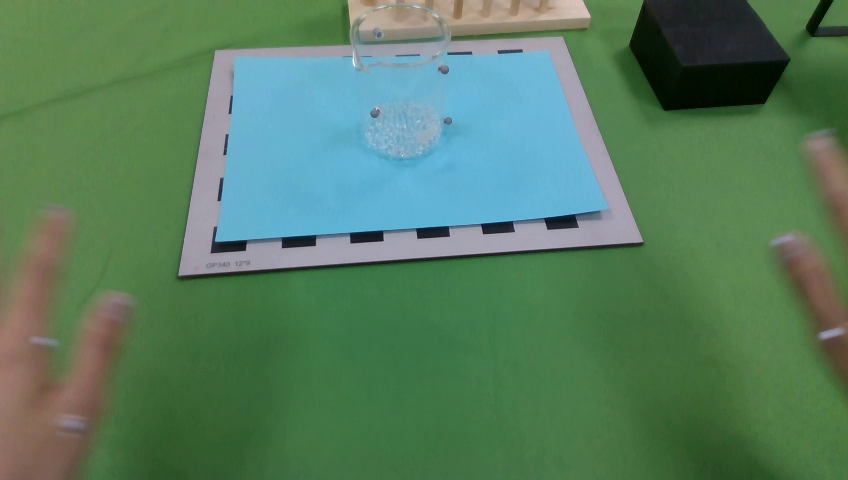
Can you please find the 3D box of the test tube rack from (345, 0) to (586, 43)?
[{"bbox_3d":[0.042,-0.257,0.598,0.243,0.086,0.066,-5,53,-6],"label":"test tube rack"}]

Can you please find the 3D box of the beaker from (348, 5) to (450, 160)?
[{"bbox_3d":[-0.022,-0.118,0.479,0.073,0.101,0.084,35,60,22],"label":"beaker"}]

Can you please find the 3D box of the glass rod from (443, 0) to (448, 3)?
[{"bbox_3d":[0.035,-0.305,0.551,0.008,0.201,0.008,5,55,-6],"label":"glass rod"}]
